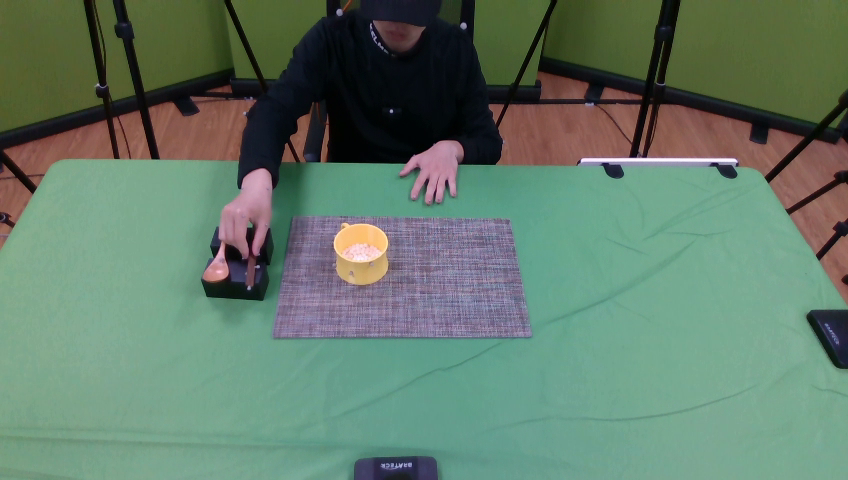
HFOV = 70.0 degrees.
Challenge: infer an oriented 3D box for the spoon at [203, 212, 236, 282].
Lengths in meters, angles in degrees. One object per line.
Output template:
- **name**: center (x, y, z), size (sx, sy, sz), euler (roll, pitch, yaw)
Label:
- **spoon**: center (-0.362, 0.009, 1.097), size (0.041, 0.022, 0.192), euler (1, 44, -3)

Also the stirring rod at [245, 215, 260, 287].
- **stirring rod**: center (-0.309, 0.017, 1.096), size (0.014, 0.006, 0.175), euler (27, 36, -31)

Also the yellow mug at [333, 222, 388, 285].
- **yellow mug**: center (-0.127, 0.016, 1.139), size (0.100, 0.064, 0.130), euler (-24, 51, -24)
